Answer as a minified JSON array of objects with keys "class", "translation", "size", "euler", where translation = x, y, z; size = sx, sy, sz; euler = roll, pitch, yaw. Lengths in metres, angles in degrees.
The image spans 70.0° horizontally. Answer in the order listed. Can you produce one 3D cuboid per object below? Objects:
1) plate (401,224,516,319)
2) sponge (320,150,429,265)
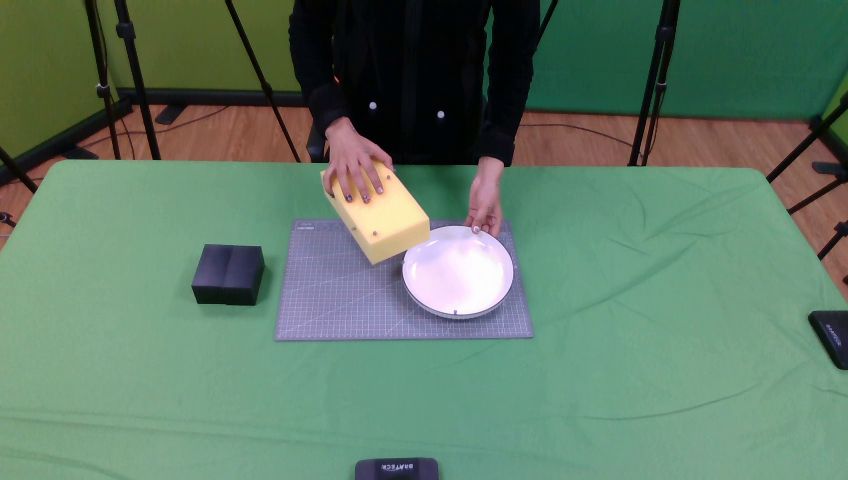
[{"class":"plate","translation":[0.062,0.060,1.118],"size":[0.209,0.038,0.208],"euler":[0,52,0]},{"class":"sponge","translation":[-0.093,-0.064,1.110],"size":[0.118,0.061,0.205],"euler":[-26,55,-18]}]
